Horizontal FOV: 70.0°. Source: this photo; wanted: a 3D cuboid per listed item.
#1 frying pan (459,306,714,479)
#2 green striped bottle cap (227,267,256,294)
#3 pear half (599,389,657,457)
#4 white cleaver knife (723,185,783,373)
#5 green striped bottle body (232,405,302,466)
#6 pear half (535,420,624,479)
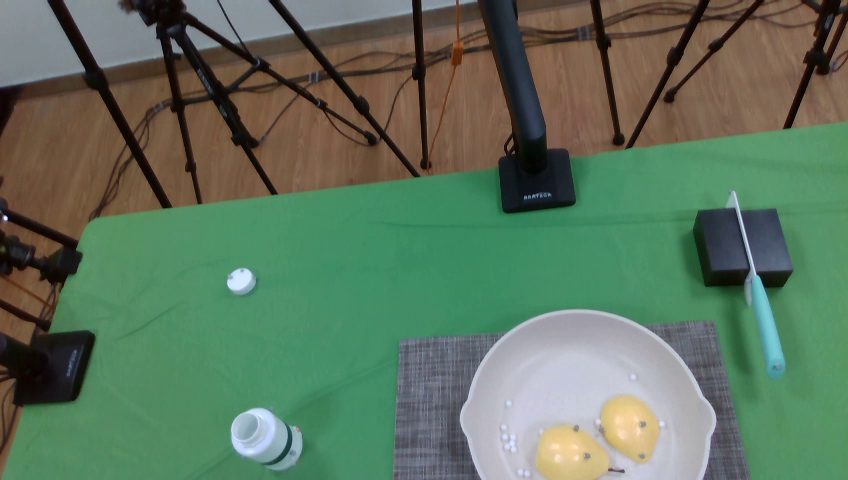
[{"bbox_3d":[0.192,0.309,0.710,0.306,0.104,0.483,-4,50,12],"label":"frying pan"},{"bbox_3d":[-0.310,0.068,1.029,0.044,0.020,0.044,-6,59,11],"label":"green striped bottle cap"},{"bbox_3d":[0.264,0.232,0.780,0.070,0.031,0.087,-21,53,6],"label":"pear half"},{"bbox_3d":[0.448,0.047,0.834,0.021,0.066,0.284,-6,56,17],"label":"white cleaver knife"},{"bbox_3d":[-0.216,0.265,0.827,0.063,0.120,0.062,-6,58,10],"label":"green striped bottle body"},{"bbox_3d":[0.197,0.267,0.762,0.109,0.056,0.076,6,67,15],"label":"pear half"}]
